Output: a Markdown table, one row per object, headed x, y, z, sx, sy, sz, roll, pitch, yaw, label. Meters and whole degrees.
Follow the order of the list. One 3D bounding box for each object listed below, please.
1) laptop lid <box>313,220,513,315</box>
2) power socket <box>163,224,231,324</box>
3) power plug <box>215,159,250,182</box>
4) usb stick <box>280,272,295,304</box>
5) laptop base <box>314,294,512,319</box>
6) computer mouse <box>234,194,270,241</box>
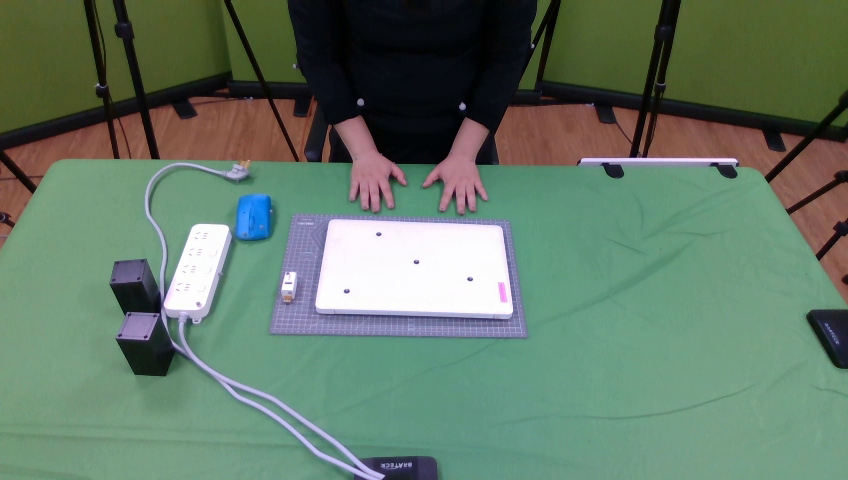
| x | y | z | sx | sy | sz | roll | pitch | yaw | label |
| --- | --- | --- | --- | --- | --- | --- | --- | --- | --- |
| -0.017 | 0.045 | 1.138 | 0.357 | 0.013 | 0.240 | 3 | 43 | -1 | laptop lid |
| -0.411 | 0.053 | 1.106 | 0.072 | 0.033 | 0.225 | 3 | 46 | -2 | power socket |
| -0.409 | -0.154 | 1.297 | 0.072 | 0.035 | 0.052 | 22 | 78 | 1 | power plug |
| -0.246 | 0.088 | 1.085 | 0.021 | 0.027 | 0.059 | 4 | 47 | -5 | usb stick |
| -0.018 | 0.055 | 1.144 | 0.354 | 0.023 | 0.234 | 2 | 42 | -2 | laptop base |
| -0.341 | -0.049 | 1.208 | 0.063 | 0.041 | 0.116 | 0 | 50 | -8 | computer mouse |
